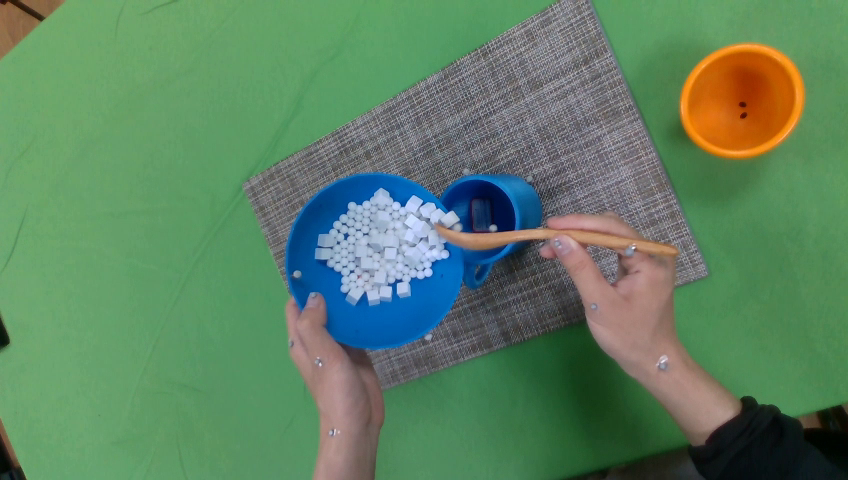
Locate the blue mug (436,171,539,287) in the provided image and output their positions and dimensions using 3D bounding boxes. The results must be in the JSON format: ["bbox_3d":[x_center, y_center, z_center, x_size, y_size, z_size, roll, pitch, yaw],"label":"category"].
[{"bbox_3d":[0.059,-0.010,0.594,0.082,0.106,0.117,17,103,18],"label":"blue mug"}]

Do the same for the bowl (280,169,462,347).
[{"bbox_3d":[-0.048,0.020,0.537,0.152,0.077,0.151,2,81,-10],"label":"bowl"}]

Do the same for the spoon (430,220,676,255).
[{"bbox_3d":[0.087,-0.003,0.455,0.192,0.042,0.021,2,76,34],"label":"spoon"}]
